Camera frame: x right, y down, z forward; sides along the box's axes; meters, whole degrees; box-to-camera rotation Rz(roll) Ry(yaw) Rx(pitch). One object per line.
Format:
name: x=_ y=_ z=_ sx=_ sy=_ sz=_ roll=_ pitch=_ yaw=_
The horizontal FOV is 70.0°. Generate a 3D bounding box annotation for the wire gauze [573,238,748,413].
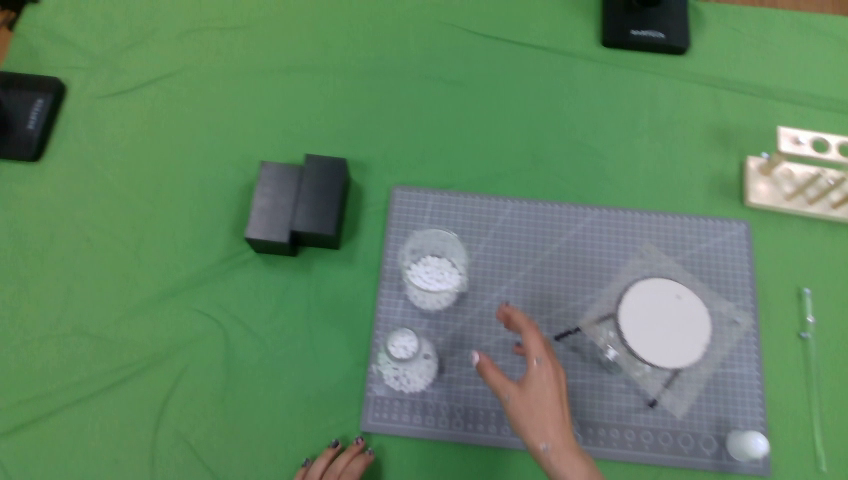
wire gauze: x=0.224 y=0.076 z=0.576 sx=0.124 sy=0.011 sz=0.121 roll=42 pitch=76 yaw=13

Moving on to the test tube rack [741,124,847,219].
test tube rack: x=0.527 y=-0.073 z=0.734 sx=0.242 sy=0.085 sz=0.066 roll=9 pitch=70 yaw=3

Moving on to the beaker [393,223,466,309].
beaker: x=0.009 y=0.035 z=0.677 sx=0.083 sy=0.101 sz=0.074 roll=41 pitch=75 yaw=12

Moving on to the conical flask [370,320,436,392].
conical flask: x=-0.023 y=0.116 z=0.635 sx=0.075 sy=0.122 sz=0.075 roll=0 pitch=70 yaw=-1

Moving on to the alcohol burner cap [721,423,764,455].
alcohol burner cap: x=0.344 y=0.212 z=0.650 sx=0.034 sy=0.048 sz=0.033 roll=1 pitch=69 yaw=-1

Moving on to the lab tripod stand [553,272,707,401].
lab tripod stand: x=0.222 y=0.096 z=0.641 sx=0.148 sy=0.132 sz=0.147 roll=0 pitch=72 yaw=1

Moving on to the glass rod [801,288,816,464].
glass rod: x=0.441 y=0.152 z=0.694 sx=0.008 sy=0.008 sz=0.198 roll=7 pitch=73 yaw=1

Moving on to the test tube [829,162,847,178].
test tube: x=0.513 y=-0.106 z=0.693 sx=0.017 sy=0.151 sz=0.017 roll=-1 pitch=70 yaw=2

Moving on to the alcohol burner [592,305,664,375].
alcohol burner: x=0.223 y=0.103 z=0.649 sx=0.078 sy=0.120 sz=0.077 roll=0 pitch=71 yaw=1
